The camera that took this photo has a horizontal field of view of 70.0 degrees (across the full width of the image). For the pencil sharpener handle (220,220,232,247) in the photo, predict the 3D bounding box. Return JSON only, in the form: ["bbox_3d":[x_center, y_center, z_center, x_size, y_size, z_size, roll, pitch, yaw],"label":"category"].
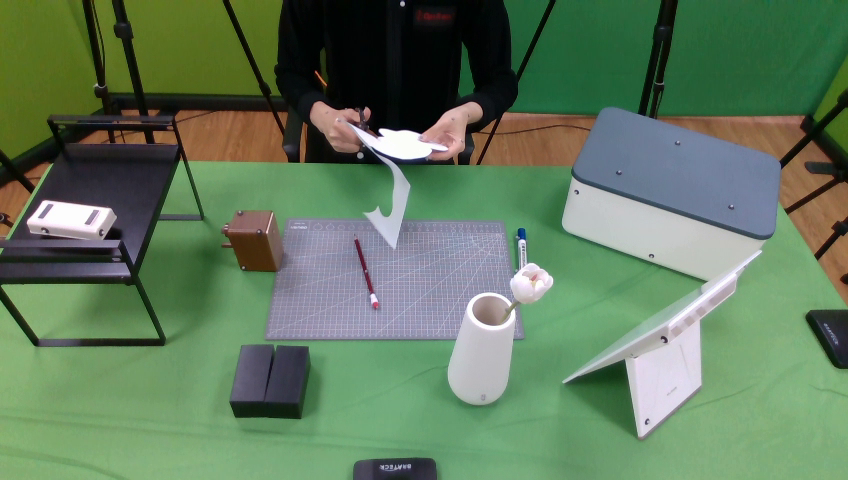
[{"bbox_3d":[-0.362,-0.009,1.105,0.030,0.068,0.036,1,52,1],"label":"pencil sharpener handle"}]

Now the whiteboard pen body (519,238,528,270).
[{"bbox_3d":[0.193,0.035,1.180,0.017,0.017,0.140,6,48,1],"label":"whiteboard pen body"}]

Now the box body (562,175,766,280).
[{"bbox_3d":[0.486,-0.088,1.222,0.363,0.161,0.253,20,48,15],"label":"box body"}]

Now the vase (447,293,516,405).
[{"bbox_3d":[0.091,0.169,0.921,0.098,0.201,0.097,3,47,-3],"label":"vase"}]

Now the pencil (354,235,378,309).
[{"bbox_3d":[-0.113,0.055,1.143,0.012,0.012,0.192,-10,46,-13],"label":"pencil"}]

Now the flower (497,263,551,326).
[{"bbox_3d":[0.102,0.121,0.853,0.044,0.363,0.038,-2,64,-10],"label":"flower"}]

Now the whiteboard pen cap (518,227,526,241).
[{"bbox_3d":[0.197,-0.009,1.220,0.018,0.018,0.033,5,51,1],"label":"whiteboard pen cap"}]

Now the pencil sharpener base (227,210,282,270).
[{"bbox_3d":[-0.311,0.001,1.112,0.077,0.107,0.061,1,47,1],"label":"pencil sharpener base"}]

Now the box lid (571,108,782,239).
[{"bbox_3d":[0.491,-0.139,1.168,0.370,0.015,0.262,21,49,15],"label":"box lid"}]

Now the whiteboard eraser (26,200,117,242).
[{"bbox_3d":[-0.532,-0.026,0.919,0.113,0.042,0.055,7,45,3],"label":"whiteboard eraser"}]

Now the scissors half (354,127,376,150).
[{"bbox_3d":[-0.103,-0.180,1.064,0.013,0.040,0.174,-2,6,-16],"label":"scissors half"}]

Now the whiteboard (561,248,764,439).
[{"bbox_3d":[0.386,0.176,0.905,0.217,0.306,0.143,-26,72,-27],"label":"whiteboard"}]

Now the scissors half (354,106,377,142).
[{"bbox_3d":[-0.103,-0.200,1.058,0.013,0.040,0.174,-7,30,-15],"label":"scissors half"}]
